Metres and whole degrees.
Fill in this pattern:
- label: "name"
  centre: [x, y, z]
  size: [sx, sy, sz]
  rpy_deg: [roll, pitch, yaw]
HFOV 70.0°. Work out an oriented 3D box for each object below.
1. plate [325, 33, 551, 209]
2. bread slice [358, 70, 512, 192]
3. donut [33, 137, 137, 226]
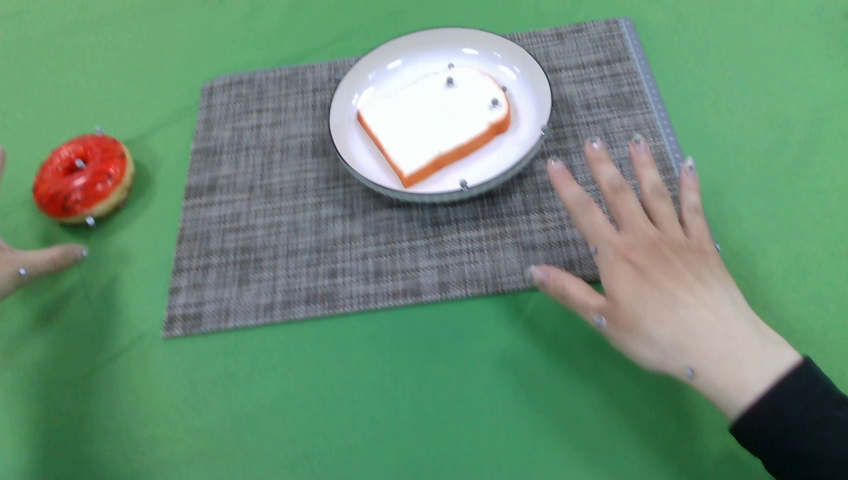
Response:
- label: "plate"
  centre: [0.013, -0.110, 0.569]
  size: [0.207, 0.039, 0.205]
  rpy_deg: [-4, 58, 6]
- label: "bread slice"
  centre: [0.014, -0.113, 0.572]
  size: [0.131, 0.019, 0.104]
  rpy_deg: [-30, 59, -9]
- label: "donut"
  centre: [-0.328, -0.058, 0.587]
  size: [0.099, 0.049, 0.098]
  rpy_deg: [-5, 58, 8]
